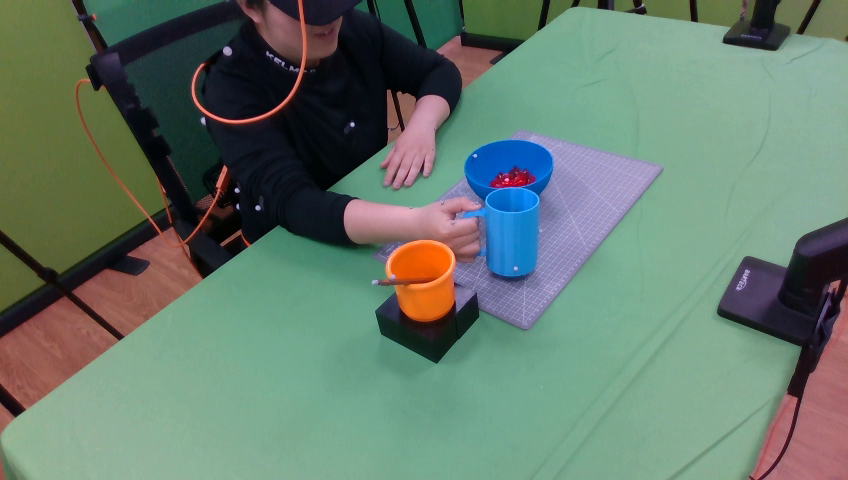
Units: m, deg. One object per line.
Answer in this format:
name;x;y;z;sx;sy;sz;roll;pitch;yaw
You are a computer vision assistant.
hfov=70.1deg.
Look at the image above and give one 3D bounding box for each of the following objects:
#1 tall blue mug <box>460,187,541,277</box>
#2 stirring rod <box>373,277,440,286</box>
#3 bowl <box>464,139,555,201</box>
tall blue mug;0.113;-0.008;0.865;0.107;0.108;0.077;-16;35;-17
stirring rod;-0.018;0.051;0.758;0.014;0.006;0.177;12;2;23
bowl;0.145;-0.100;1.025;0.151;0.077;0.150;-5;40;5
